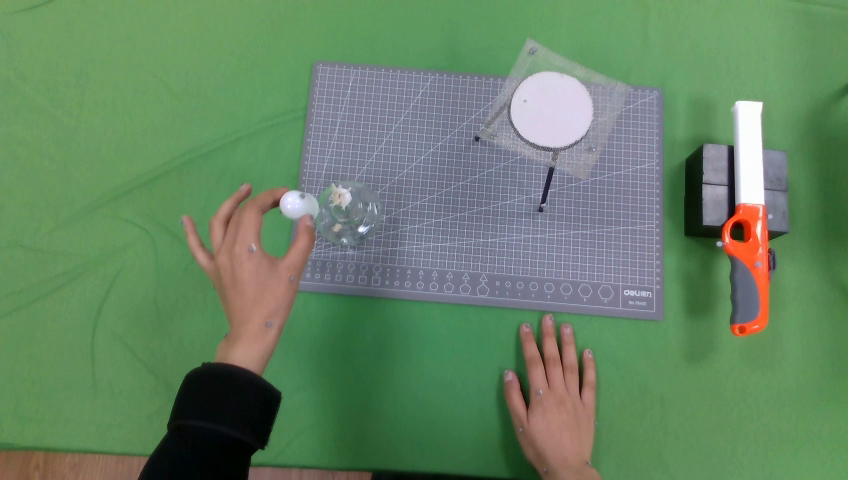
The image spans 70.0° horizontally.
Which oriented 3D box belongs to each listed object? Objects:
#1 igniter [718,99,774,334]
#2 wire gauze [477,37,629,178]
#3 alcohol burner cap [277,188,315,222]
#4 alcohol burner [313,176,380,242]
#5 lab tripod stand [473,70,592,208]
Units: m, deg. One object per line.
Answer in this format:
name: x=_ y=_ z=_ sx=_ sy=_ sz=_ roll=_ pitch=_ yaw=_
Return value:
igniter: x=0.364 y=-0.030 z=0.688 sx=0.057 sy=0.025 sz=0.275 roll=5 pitch=77 yaw=6
wire gauze: x=0.136 y=-0.138 z=0.628 sx=0.121 sy=0.011 sz=0.124 roll=27 pitch=77 yaw=4
alcohol burner cap: x=-0.129 y=-0.037 z=0.599 sx=0.034 sy=0.048 sz=0.034 roll=0 pitch=85 yaw=2
alcohol burner: x=-0.088 y=-0.039 z=0.681 sx=0.078 sy=0.119 sz=0.077 roll=0 pitch=79 yaw=-2
lab tripod stand: x=0.133 y=-0.126 z=0.694 sx=0.148 sy=0.132 sz=0.147 roll=0 pitch=75 yaw=-1
